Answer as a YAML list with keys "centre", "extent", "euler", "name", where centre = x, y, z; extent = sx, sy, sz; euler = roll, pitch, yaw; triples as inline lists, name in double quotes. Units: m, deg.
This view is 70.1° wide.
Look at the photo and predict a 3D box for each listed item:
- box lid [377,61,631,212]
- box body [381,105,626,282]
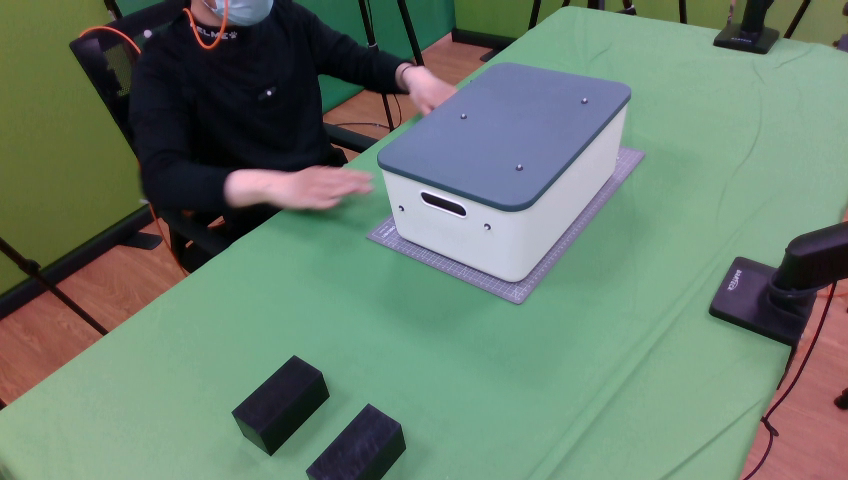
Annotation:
- centre: [0.131, -0.178, 0.930]
  extent: [0.261, 0.015, 0.372]
  euler: [22, 49, 30]
  name: "box lid"
- centre: [0.137, -0.121, 0.978]
  extent: [0.252, 0.161, 0.365]
  euler: [22, 49, 30]
  name: "box body"
